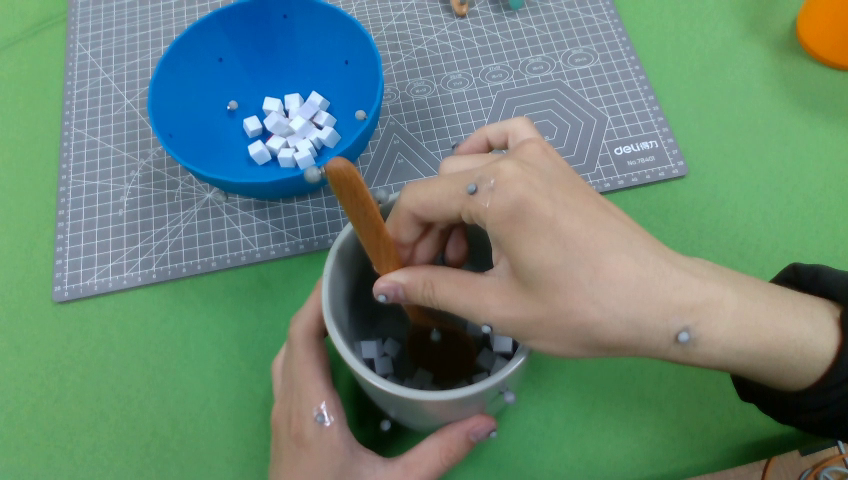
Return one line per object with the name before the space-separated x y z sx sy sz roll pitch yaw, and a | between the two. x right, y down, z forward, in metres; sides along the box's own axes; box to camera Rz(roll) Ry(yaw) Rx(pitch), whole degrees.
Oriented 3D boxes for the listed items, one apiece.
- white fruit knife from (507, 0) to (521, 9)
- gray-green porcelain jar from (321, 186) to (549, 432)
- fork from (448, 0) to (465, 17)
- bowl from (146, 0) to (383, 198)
white fruit knife | 0.052 -0.293 0.507 0.016 0.027 0.206 -12 79 -5
gray-green porcelain jar | 0.008 0.046 0.332 0.106 0.127 0.105 -1 65 3
fork | 0.003 -0.285 0.504 0.028 0.018 0.206 -14 84 -10
bowl | -0.099 -0.085 0.417 0.151 0.077 0.150 -1 65 2
